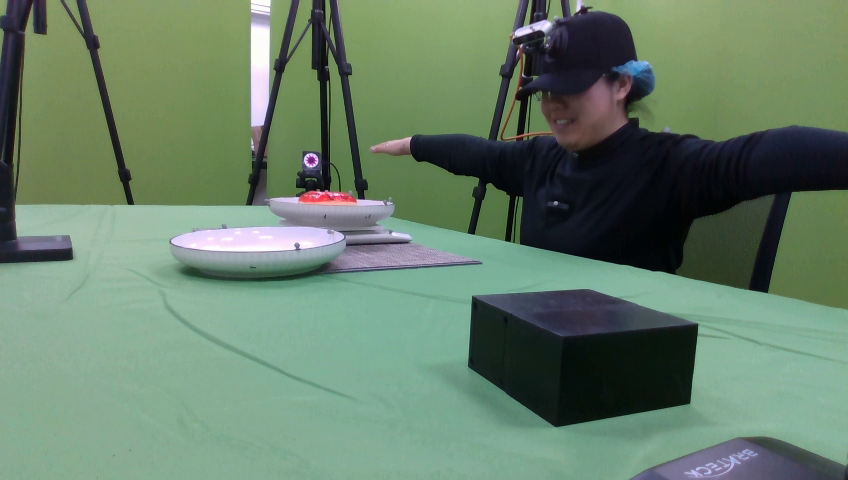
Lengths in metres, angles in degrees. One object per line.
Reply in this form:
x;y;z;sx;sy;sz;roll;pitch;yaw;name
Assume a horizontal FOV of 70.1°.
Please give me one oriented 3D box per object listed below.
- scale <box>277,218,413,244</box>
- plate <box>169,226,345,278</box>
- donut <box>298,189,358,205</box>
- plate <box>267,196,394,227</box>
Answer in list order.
-0.134;-0.016;1.015;0.202;0.031;0.148;-2;9;-33;scale
-0.202;0.014;0.748;0.209;0.038;0.209;1;9;0;plate
-0.158;-0.059;0.996;0.099;0.048;0.099;2;4;0;donut
-0.152;-0.047;0.998;0.208;0.039;0.207;2;7;0;plate
